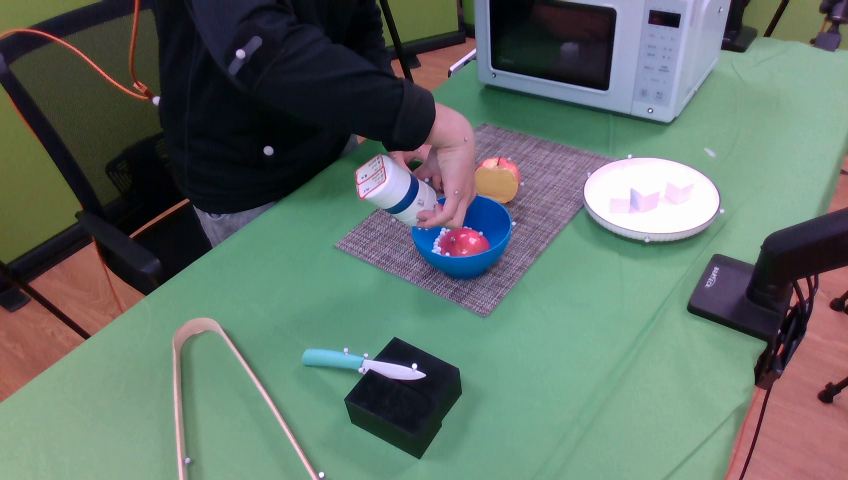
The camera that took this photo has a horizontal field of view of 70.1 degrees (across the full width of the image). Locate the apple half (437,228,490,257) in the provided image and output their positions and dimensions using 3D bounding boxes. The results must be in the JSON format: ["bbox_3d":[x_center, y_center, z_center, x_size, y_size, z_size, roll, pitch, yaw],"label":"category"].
[{"bbox_3d":[0.056,0.002,0.901,0.081,0.033,0.081,-3,41,3],"label":"apple half"}]

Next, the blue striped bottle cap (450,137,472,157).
[{"bbox_3d":[0.071,-0.180,1.168,0.044,0.021,0.044,-4,42,4],"label":"blue striped bottle cap"}]

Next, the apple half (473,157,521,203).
[{"bbox_3d":[0.128,-0.107,1.030,0.080,0.075,0.053,5,38,20],"label":"apple half"}]

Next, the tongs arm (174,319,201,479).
[{"bbox_3d":[-0.272,0.234,0.723,0.051,0.026,0.381,-18,40,-15],"label":"tongs arm"}]

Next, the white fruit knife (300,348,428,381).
[{"bbox_3d":[-0.080,0.154,0.748,0.206,0.027,0.016,1,20,34],"label":"white fruit knife"}]

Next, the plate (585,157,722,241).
[{"bbox_3d":[0.367,-0.063,0.979,0.207,0.039,0.206,-4,40,4],"label":"plate"}]

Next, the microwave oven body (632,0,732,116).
[{"bbox_3d":[0.377,-0.463,1.267,0.438,0.261,0.327,21,49,30],"label":"microwave oven body"}]

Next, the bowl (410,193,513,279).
[{"bbox_3d":[0.058,0.005,0.905,0.151,0.077,0.150,-4,40,4],"label":"bowl"}]

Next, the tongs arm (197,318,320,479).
[{"bbox_3d":[-0.199,0.207,0.751,0.028,0.028,0.384,-31,45,-22],"label":"tongs arm"}]

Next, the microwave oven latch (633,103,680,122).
[{"bbox_3d":[0.444,-0.249,1.158,0.078,0.029,0.030,21,49,30],"label":"microwave oven latch"}]

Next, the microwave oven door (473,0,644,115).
[{"bbox_3d":[0.257,-0.396,1.199,0.353,0.245,0.039,21,48,29],"label":"microwave oven door"}]

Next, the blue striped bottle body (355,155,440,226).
[{"bbox_3d":[-0.029,-0.060,0.811,0.063,0.122,0.063,-21,56,34],"label":"blue striped bottle body"}]
